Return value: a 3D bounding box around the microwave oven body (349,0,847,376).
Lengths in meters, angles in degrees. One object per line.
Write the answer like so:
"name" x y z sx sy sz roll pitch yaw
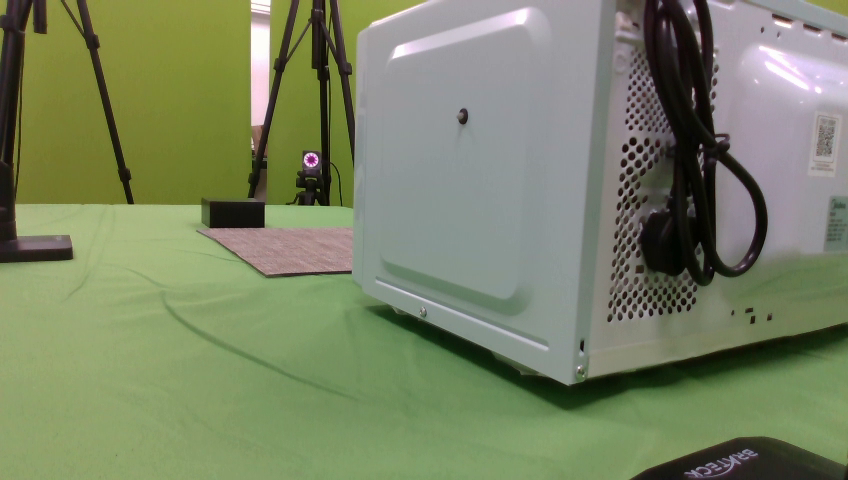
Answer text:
"microwave oven body" 0.199 -0.053 0.540 0.444 0.260 0.324 -1 7 -32

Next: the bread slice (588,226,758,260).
"bread slice" 0.226 0.001 0.569 0.132 0.019 0.104 4 5 -23

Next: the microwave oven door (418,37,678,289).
"microwave oven door" 0.159 -0.079 0.684 0.358 0.243 0.039 -2 9 -32

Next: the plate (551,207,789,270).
"plate" 0.224 -0.004 0.572 0.209 0.038 0.209 3 8 0

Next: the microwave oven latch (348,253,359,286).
"microwave oven latch" -0.034 0.028 0.581 0.079 0.029 0.030 -1 7 -32
